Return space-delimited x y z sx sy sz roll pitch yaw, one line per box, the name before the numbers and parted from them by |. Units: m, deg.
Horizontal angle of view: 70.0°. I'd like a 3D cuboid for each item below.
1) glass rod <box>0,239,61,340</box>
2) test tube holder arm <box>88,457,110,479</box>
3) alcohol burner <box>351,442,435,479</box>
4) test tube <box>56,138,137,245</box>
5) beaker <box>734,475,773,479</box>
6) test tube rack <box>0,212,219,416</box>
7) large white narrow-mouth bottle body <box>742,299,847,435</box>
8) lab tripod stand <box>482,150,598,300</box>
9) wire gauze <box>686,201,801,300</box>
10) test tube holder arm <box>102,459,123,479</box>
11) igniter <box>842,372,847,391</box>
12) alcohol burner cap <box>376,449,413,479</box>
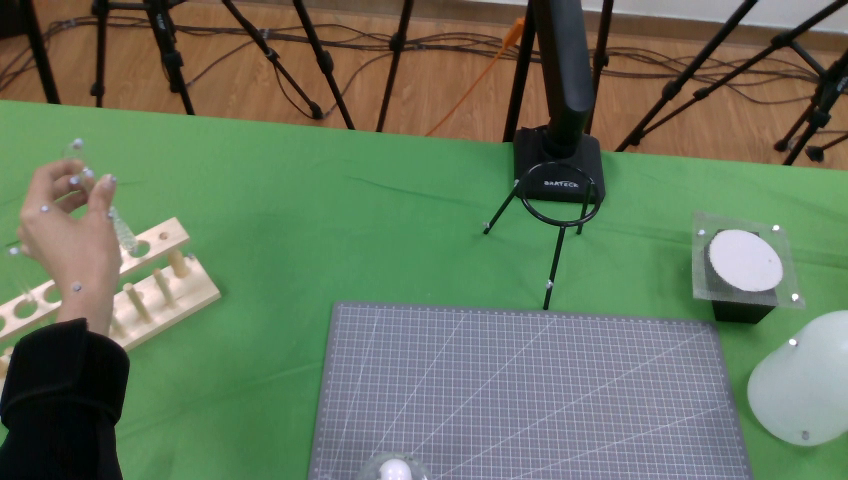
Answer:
glass rod | -0.380 0.041 0.574 0.008 0.201 0.008 5 48 -5
test tube holder arm | -0.295 0.231 0.520 0.010 0.015 0.087 10 56 13
alcohol burner | -0.027 0.216 0.543 0.078 0.120 0.077 3 55 -4
test tube | -0.294 -0.038 0.552 0.017 0.151 0.017 2 58 -3
beaker | 0.276 0.260 0.543 0.084 0.101 0.073 8 56 3
test tube rack | -0.349 0.074 0.634 0.242 0.086 0.066 -33 65 -22
large white narrow-mouth bottle body | 0.402 0.116 0.592 0.102 0.196 0.101 2 56 -2
lab tripod stand | 0.142 -0.024 0.703 0.148 0.132 0.147 3 58 -4
wire gauze | 0.369 0.012 0.710 0.121 0.011 0.124 10 56 3
test tube holder arm | -0.302 0.268 0.495 0.013 0.015 0.177 11 56 13
igniter | 0.466 0.262 0.602 0.057 0.025 0.274 14 56 -7
alcohol burner cap | -0.025 0.196 0.513 0.034 0.048 0.033 1 51 -1
